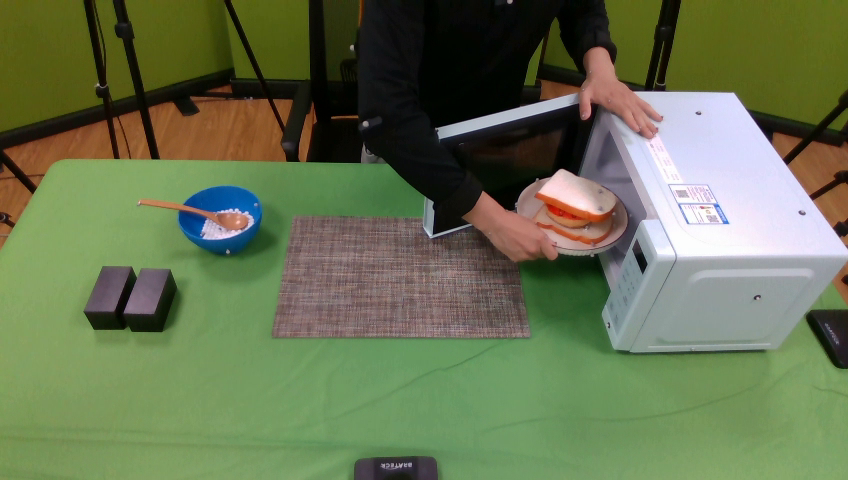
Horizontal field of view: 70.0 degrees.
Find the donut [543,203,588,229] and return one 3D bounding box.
[{"bbox_3d":[0.270,-0.065,1.117,0.099,0.048,0.098,-6,54,8],"label":"donut"}]

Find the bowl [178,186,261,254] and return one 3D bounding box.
[{"bbox_3d":[-0.383,-0.026,1.158,0.151,0.077,0.150,2,46,-2],"label":"bowl"}]

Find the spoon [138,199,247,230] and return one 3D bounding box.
[{"bbox_3d":[-0.431,-0.053,1.136,0.194,0.022,0.041,15,49,-20],"label":"spoon"}]

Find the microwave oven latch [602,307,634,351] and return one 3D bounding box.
[{"bbox_3d":[0.332,0.153,1.044,0.030,0.029,0.078,-1,45,-4],"label":"microwave oven latch"}]

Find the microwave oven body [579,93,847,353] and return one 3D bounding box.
[{"bbox_3d":[0.475,-0.042,1.109,0.326,0.261,0.438,-1,45,-4],"label":"microwave oven body"}]

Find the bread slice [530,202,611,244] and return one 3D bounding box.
[{"bbox_3d":[0.279,-0.046,1.133,0.134,0.018,0.106,26,53,16],"label":"bread slice"}]

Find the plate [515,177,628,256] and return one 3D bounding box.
[{"bbox_3d":[0.273,-0.042,1.141,0.208,0.039,0.206,0,45,0],"label":"plate"}]

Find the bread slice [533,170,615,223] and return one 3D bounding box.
[{"bbox_3d":[0.278,-0.079,1.096,0.131,0.019,0.104,27,45,20],"label":"bread slice"}]

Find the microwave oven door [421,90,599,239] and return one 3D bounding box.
[{"bbox_3d":[0.166,-0.147,1.182,0.356,0.245,0.039,-18,49,-20],"label":"microwave oven door"}]
